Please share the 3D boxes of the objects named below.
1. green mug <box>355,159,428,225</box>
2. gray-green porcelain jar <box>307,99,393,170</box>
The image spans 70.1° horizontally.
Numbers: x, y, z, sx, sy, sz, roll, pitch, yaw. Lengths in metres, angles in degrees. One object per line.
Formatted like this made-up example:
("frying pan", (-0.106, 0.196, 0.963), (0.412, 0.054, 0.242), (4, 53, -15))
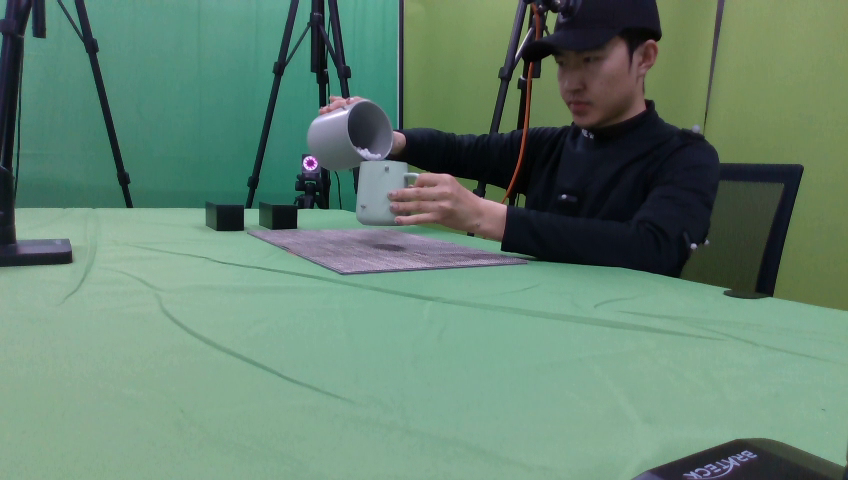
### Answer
("green mug", (-0.052, -0.078, 0.994), (0.125, 0.105, 0.093), (3, 4, 23))
("gray-green porcelain jar", (-0.134, -0.180, 1.056), (0.126, 0.105, 0.106), (-7, -1, 44))
